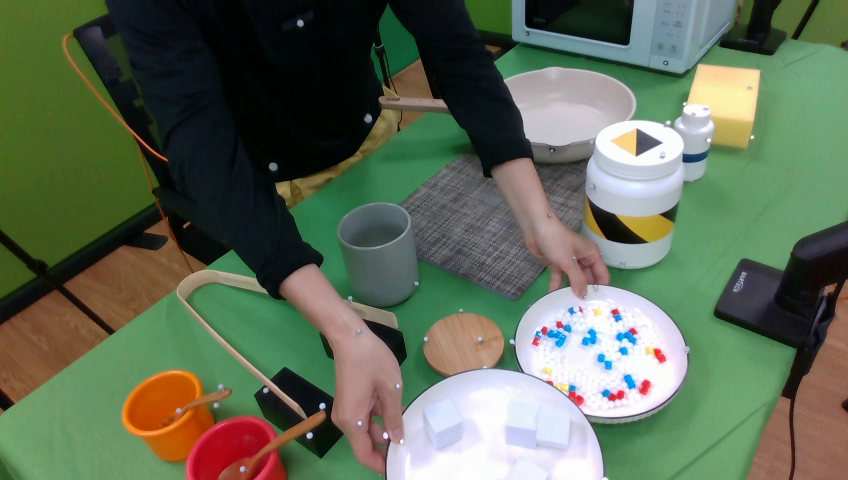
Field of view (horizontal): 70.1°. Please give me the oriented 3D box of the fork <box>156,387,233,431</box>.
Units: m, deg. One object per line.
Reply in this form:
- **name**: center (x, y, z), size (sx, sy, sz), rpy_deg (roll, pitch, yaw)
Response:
- **fork**: center (-0.263, 0.192, 0.688), size (0.018, 0.206, 0.028), rpy_deg (51, 44, -6)

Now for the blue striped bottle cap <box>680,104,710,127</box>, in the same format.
- **blue striped bottle cap**: center (0.443, -0.205, 0.989), size (0.044, 0.021, 0.044), rpy_deg (-1, 41, 2)

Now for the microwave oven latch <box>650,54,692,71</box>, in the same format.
- **microwave oven latch**: center (0.531, -0.386, 1.301), size (0.078, 0.029, 0.030), rpy_deg (25, 51, 33)

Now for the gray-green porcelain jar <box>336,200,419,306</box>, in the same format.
- **gray-green porcelain jar**: center (-0.064, 0.023, 0.873), size (0.106, 0.127, 0.105), rpy_deg (-4, 41, 4)

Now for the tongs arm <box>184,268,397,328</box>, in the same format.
- **tongs arm**: center (-0.202, 0.084, 0.848), size (0.382, 0.027, 0.051), rpy_deg (11, 44, 35)

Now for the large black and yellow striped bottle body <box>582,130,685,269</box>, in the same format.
- **large black and yellow striped bottle body**: center (0.301, -0.064, 0.878), size (0.131, 0.185, 0.130), rpy_deg (-4, 41, 4)

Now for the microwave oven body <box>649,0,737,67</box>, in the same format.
- **microwave oven body**: center (0.475, -0.602, 1.411), size (0.438, 0.261, 0.327), rpy_deg (23, 50, 32)

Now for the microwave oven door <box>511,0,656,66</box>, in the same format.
- **microwave oven door**: center (0.350, -0.539, 1.348), size (0.353, 0.245, 0.039), rpy_deg (24, 50, 31)

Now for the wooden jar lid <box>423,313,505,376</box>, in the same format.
- **wooden jar lid**: center (0.053, 0.142, 0.800), size (0.108, 0.021, 0.108), rpy_deg (-5, 39, 4)

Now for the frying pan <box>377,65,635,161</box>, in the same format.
- **frying pan**: center (0.150, -0.256, 1.177), size (0.488, 0.103, 0.306), rpy_deg (7, 41, 3)

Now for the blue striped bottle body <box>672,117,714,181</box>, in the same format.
- **blue striped bottle body**: center (0.449, -0.165, 1.022), size (0.063, 0.121, 0.063), rpy_deg (-5, 41, 4)

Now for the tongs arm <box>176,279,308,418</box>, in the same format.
- **tongs arm**: center (-0.255, 0.132, 0.801), size (0.028, 0.028, 0.384), rpy_deg (-41, 40, -23)

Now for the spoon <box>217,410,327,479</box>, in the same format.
- **spoon**: center (-0.165, 0.224, 0.640), size (0.193, 0.022, 0.041), rpy_deg (-41, 28, 30)

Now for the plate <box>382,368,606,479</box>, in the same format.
- **plate**: center (0.065, 0.218, 0.579), size (0.207, 0.039, 0.206), rpy_deg (-4, 41, 4)

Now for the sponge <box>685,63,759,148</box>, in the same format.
- **sponge**: center (0.569, -0.263, 1.164), size (0.117, 0.061, 0.207), rpy_deg (12, 45, 22)

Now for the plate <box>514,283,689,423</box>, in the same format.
- **plate**: center (0.219, 0.141, 0.758), size (0.209, 0.038, 0.208), rpy_deg (-4, 42, 5)

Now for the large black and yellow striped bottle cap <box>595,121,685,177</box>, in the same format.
- **large black and yellow striped bottle cap**: center (0.292, -0.126, 0.821), size (0.115, 0.019, 0.114), rpy_deg (-5, 40, 4)
